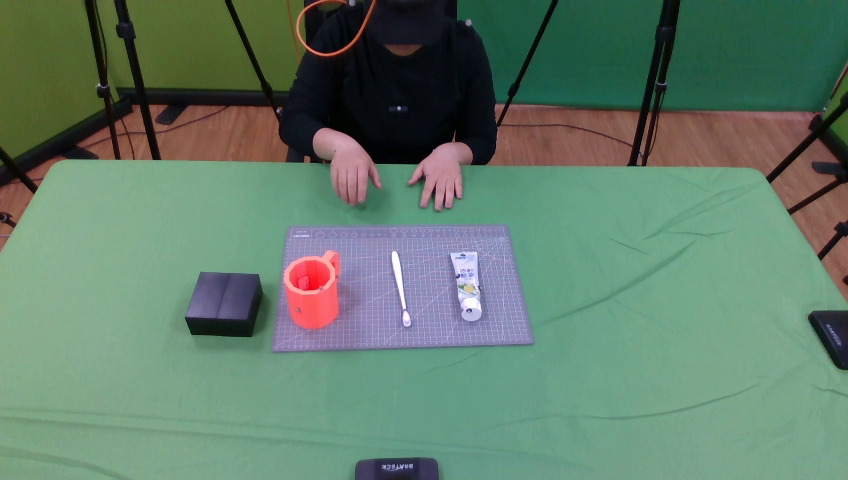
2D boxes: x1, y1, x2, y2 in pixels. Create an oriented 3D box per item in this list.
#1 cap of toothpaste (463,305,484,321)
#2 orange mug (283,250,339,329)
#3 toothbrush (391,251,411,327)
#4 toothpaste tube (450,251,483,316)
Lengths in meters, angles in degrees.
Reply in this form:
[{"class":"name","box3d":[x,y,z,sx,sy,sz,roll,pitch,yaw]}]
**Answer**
[{"class":"cap of toothpaste","box3d":[0.087,0.127,1.064,0.037,0.037,0.011,2,40,-2]},{"class":"orange mug","box3d":[-0.186,0.078,1.052,0.083,0.101,0.126,20,52,15]},{"class":"toothbrush","box3d":[-0.044,0.085,1.112,0.014,0.017,0.180,-14,46,1]},{"class":"toothpaste tube","box3d":[0.085,0.077,1.122,0.055,0.035,0.164,3,41,-8]}]
